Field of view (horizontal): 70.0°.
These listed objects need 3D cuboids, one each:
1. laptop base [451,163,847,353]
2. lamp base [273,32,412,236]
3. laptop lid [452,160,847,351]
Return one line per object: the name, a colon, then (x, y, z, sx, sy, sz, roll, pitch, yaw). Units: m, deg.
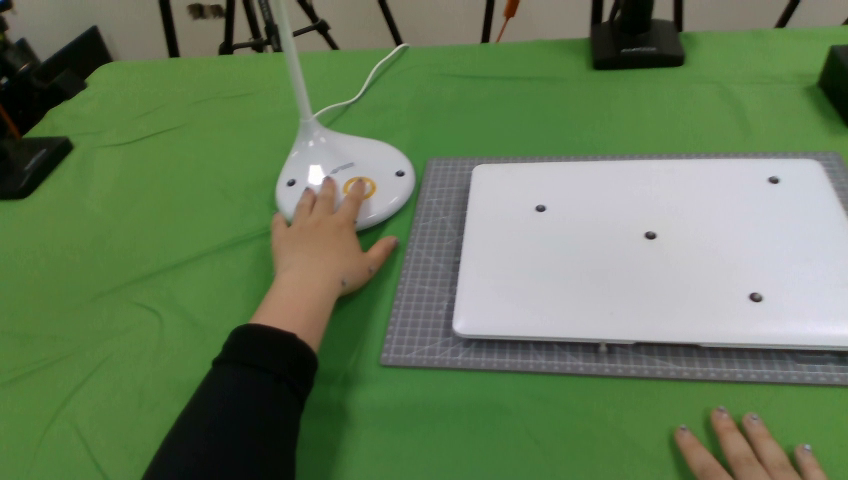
laptop base: (0.211, 0.009, 0.575, 0.354, 0.023, 0.233, 0, 47, 10)
lamp base: (-0.110, -0.122, 0.649, 0.160, 0.182, 0.177, -35, 46, -26)
laptop lid: (0.209, 0.002, 0.565, 0.356, 0.013, 0.239, 1, 46, 11)
